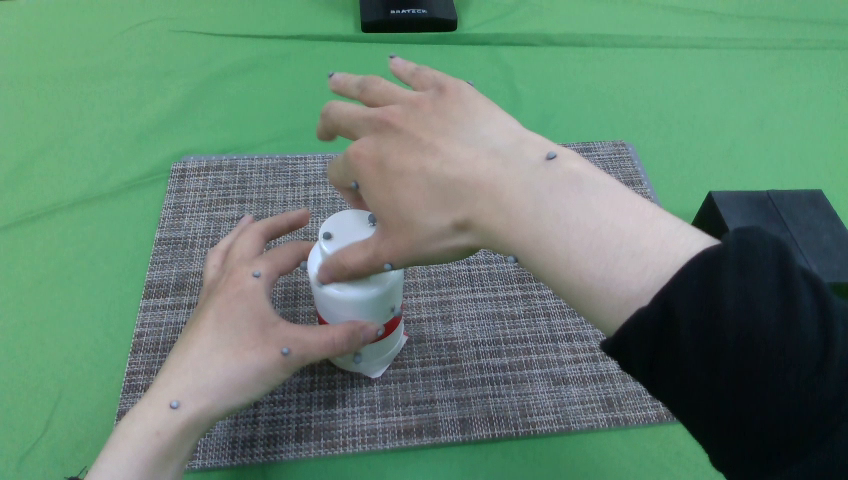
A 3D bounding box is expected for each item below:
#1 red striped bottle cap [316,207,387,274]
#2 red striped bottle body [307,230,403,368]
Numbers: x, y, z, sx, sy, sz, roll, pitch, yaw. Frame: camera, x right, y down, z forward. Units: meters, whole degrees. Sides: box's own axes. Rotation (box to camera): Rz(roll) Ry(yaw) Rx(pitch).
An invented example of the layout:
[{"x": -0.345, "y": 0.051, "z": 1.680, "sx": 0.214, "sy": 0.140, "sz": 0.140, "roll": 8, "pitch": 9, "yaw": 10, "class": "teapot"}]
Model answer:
[{"x": -0.045, "y": -0.001, "z": 0.376, "sx": 0.044, "sy": 0.018, "sz": 0.044, "roll": 3, "pitch": 46, "yaw": -3, "class": "red striped bottle cap"}, {"x": -0.046, "y": 0.033, "z": 0.418, "sx": 0.063, "sy": 0.121, "sz": 0.062, "roll": 2, "pitch": 50, "yaw": -2, "class": "red striped bottle body"}]
